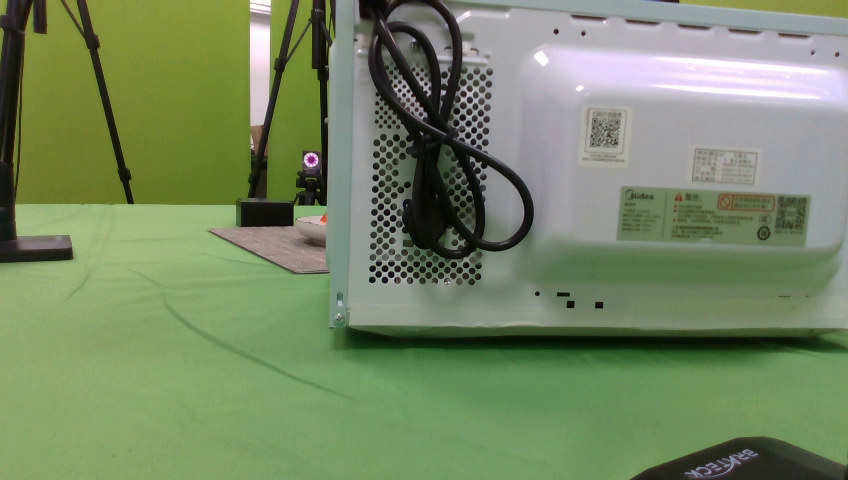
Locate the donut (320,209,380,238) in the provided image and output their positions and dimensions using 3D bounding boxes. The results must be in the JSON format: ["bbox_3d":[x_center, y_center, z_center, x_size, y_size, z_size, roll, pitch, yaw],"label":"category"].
[{"bbox_3d":[-0.121,-0.027,0.996,0.099,0.048,0.099,2,4,0],"label":"donut"}]

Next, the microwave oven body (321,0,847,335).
[{"bbox_3d":[0.133,-0.062,0.568,0.443,0.260,0.325,2,7,-8],"label":"microwave oven body"}]

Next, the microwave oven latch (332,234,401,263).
[{"bbox_3d":[-0.066,0.010,0.701,0.079,0.029,0.030,2,7,-8],"label":"microwave oven latch"}]

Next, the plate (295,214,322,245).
[{"bbox_3d":[-0.107,-0.016,0.997,0.209,0.038,0.209,2,7,0],"label":"plate"}]

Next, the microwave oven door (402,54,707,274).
[{"bbox_3d":[0.157,-0.085,0.717,0.357,0.243,0.039,1,8,-8],"label":"microwave oven door"}]
